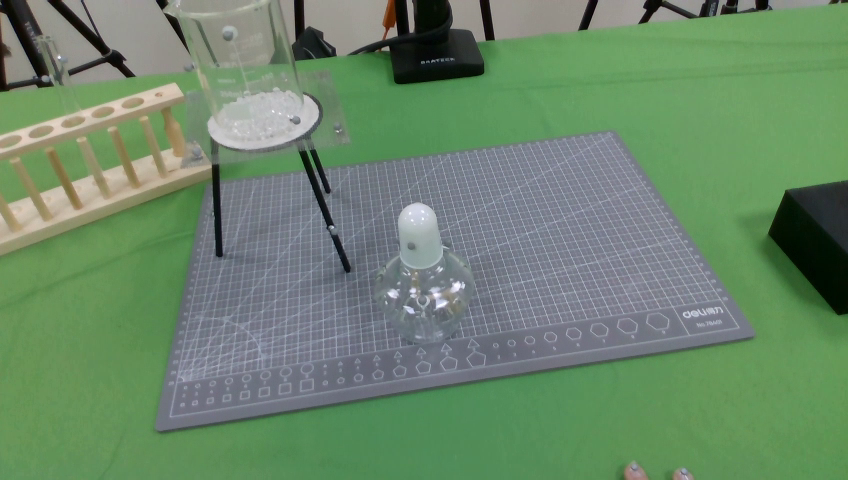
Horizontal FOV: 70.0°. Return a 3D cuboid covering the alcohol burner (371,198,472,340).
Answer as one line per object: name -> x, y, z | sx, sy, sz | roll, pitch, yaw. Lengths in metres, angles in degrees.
alcohol burner -> -0.002, 0.019, 0.454 | 0.078, 0.120, 0.077 | -2, 41, 2

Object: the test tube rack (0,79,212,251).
test tube rack -> -0.348, -0.074, 0.606 | 0.242, 0.086, 0.066 | -25, 47, -21

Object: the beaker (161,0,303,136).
beaker -> -0.136, -0.134, 0.446 | 0.084, 0.101, 0.073 | -7, 43, 0

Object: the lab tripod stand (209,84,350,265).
lab tripod stand -> -0.126, -0.054, 0.527 | 0.148, 0.133, 0.147 | -3, 45, 3

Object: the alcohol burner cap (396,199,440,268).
alcohol burner cap -> -0.006, -0.008, 0.430 | 0.034, 0.048, 0.033 | -3, 45, 3

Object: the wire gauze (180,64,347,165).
wire gauze -> -0.130, -0.101, 0.482 | 0.125, 0.011, 0.120 | -14, 42, -6

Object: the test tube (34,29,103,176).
test tube -> -0.344, -0.129, 0.590 | 0.017, 0.151, 0.017 | 0, 37, 0
